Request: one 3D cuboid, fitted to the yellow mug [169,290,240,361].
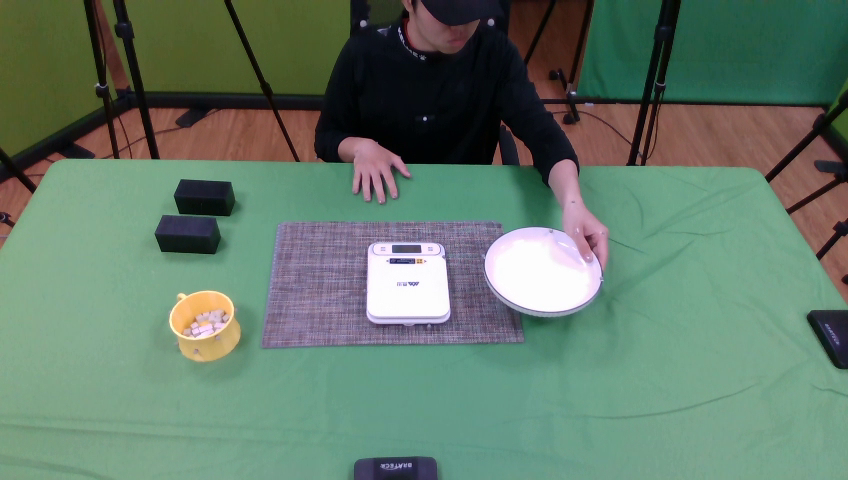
[{"bbox_3d":[-0.373,0.132,1.009,0.130,0.064,0.100,35,53,27],"label":"yellow mug"}]

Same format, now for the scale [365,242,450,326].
[{"bbox_3d":[-0.032,0.071,1.113,0.149,0.032,0.199,0,46,-4],"label":"scale"}]

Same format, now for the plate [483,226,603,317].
[{"bbox_3d":[0.208,0.058,1.072,0.209,0.038,0.208,0,44,0],"label":"plate"}]
